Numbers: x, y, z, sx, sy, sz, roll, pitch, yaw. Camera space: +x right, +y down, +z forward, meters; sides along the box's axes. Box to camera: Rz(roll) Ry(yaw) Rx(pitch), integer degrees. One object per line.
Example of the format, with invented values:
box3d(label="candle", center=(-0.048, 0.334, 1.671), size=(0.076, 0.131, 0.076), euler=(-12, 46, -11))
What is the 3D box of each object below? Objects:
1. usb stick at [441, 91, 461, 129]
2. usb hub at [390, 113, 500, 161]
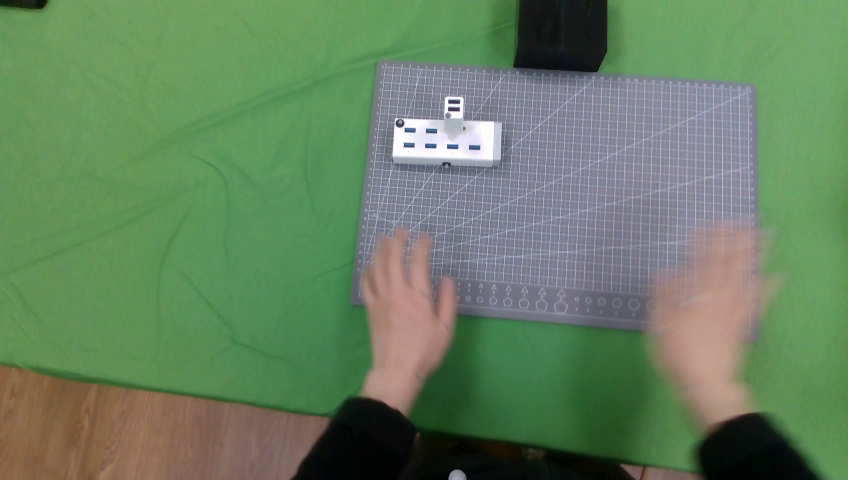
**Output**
box3d(label="usb stick", center=(0.031, -0.140, 0.671), size=(0.021, 0.059, 0.027), euler=(0, 76, 3))
box3d(label="usb hub", center=(0.024, -0.119, 0.700), size=(0.125, 0.025, 0.049), euler=(3, 79, 2))
